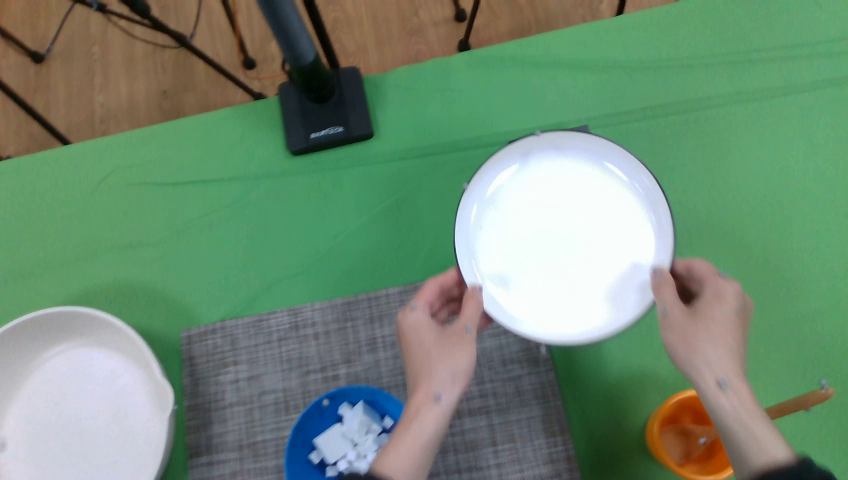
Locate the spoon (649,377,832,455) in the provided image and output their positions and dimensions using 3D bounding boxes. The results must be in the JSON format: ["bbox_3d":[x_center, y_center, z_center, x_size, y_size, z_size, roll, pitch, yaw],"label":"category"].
[{"bbox_3d":[0.312,0.178,0.612,0.022,0.194,0.041,-7,66,-43],"label":"spoon"}]

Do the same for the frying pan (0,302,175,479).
[{"bbox_3d":[-0.405,0.311,0.674,0.307,0.103,0.483,-16,64,2],"label":"frying pan"}]

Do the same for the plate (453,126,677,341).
[{"bbox_3d":[0.133,-0.006,0.589,0.207,0.039,0.207,-1,82,7],"label":"plate"}]

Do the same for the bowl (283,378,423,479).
[{"bbox_3d":[-0.071,0.233,0.670,0.151,0.077,0.150,-2,73,6],"label":"bowl"}]
